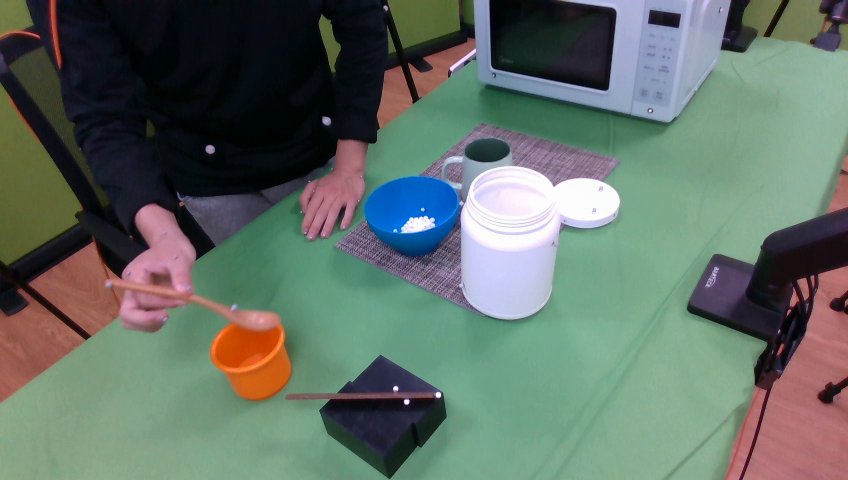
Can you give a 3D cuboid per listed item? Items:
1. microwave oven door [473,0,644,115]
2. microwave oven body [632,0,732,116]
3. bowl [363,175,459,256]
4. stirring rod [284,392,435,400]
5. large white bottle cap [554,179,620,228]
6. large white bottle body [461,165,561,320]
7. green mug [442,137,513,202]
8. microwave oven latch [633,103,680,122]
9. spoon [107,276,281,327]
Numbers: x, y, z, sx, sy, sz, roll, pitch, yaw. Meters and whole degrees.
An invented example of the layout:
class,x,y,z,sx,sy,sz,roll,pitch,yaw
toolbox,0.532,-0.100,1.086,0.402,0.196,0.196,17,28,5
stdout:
class,x,y,z,sx,sy,sz,roll,pitch,yaw
microwave oven door,0.257,-0.396,1.199,0.353,0.245,0.039,21,48,29
microwave oven body,0.377,-0.462,1.267,0.438,0.261,0.327,21,48,30
bowl,-0.016,-0.028,0.955,0.151,0.077,0.150,-4,40,4
stirring rod,-0.075,0.180,0.698,0.176,0.006,0.014,-2,6,6
large white bottle cap,0.265,-0.062,1.001,0.115,0.018,0.114,-3,41,3
large white bottle body,0.115,0.004,0.816,0.130,0.185,0.130,-2,43,2
green mug,0.091,-0.108,1.012,0.125,0.105,0.092,2,42,11
microwave oven latch,0.444,-0.249,1.157,0.078,0.029,0.030,21,49,30
spoon,-0.256,0.068,0.689,0.195,0.021,0.041,24,15,-31
